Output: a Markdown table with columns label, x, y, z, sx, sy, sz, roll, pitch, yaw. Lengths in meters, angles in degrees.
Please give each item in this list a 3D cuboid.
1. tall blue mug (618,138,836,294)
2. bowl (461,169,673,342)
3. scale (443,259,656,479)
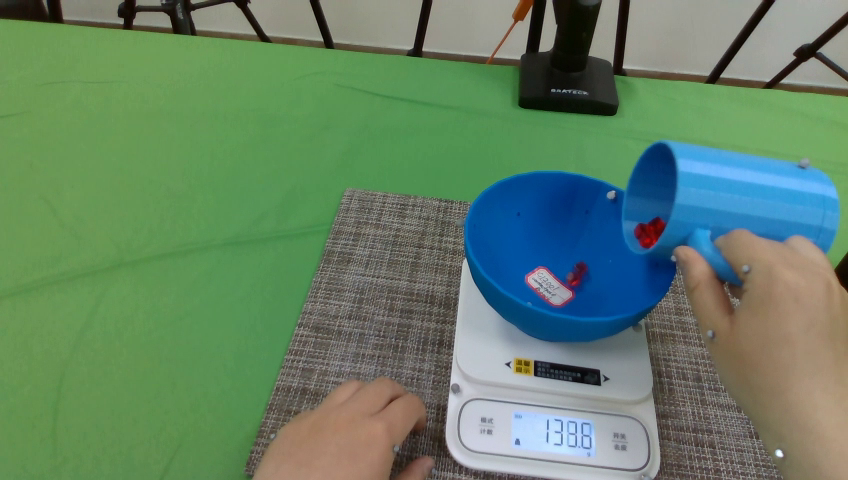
| label | x | y | z | sx | sy | sz | roll | pitch | yaw |
| --- | --- | --- | --- | --- | --- | --- | --- | --- | --- |
| tall blue mug | 0.198 | -0.017 | 0.388 | 0.108 | 0.078 | 0.106 | 9 | 11 | -6 |
| bowl | 0.098 | 0.023 | 0.455 | 0.151 | 0.077 | 0.150 | 2 | 46 | -2 |
| scale | 0.096 | 0.083 | 0.472 | 0.148 | 0.032 | 0.199 | 6 | 46 | 3 |
